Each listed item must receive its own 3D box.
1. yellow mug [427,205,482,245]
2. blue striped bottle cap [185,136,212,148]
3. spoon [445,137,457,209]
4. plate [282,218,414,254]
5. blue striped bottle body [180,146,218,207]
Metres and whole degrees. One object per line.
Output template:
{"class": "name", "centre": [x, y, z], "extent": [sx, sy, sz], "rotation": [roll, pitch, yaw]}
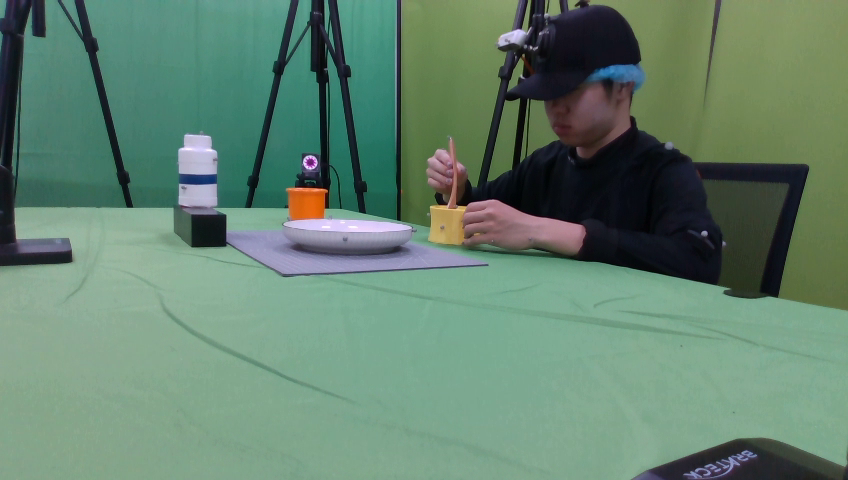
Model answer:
{"class": "yellow mug", "centre": [0.062, -0.028, 1.111], "extent": [0.100, 0.064, 0.130], "rotation": [0, 9, -20]}
{"class": "blue striped bottle cap", "centre": [-0.390, -0.169, 1.047], "extent": [0.044, 0.020, 0.044], "rotation": [4, 10, 0]}
{"class": "spoon", "centre": [0.053, -0.103, 1.130], "extent": [0.021, 0.193, 0.042], "rotation": [-8, -15, 42]}
{"class": "plate", "centre": [-0.121, -0.007, 0.971], "extent": [0.208, 0.039, 0.207], "rotation": [2, 7, 0]}
{"class": "blue striped bottle body", "centre": [-0.392, -0.118, 1.053], "extent": [0.063, 0.120, 0.063], "rotation": [2, 8, 0]}
